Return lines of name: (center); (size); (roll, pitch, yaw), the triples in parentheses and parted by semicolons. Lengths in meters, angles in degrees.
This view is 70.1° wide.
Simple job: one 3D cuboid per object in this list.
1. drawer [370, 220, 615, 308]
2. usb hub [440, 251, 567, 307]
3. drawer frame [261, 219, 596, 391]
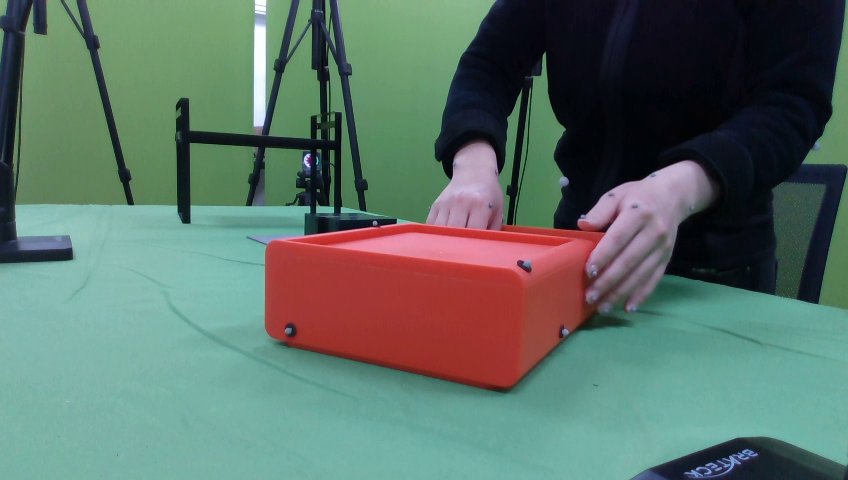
drawer: (0.061, 0.027, 0.579); (0.193, 0.073, 0.213); (7, 8, 29)
usb hub: (0.079, 0.038, 0.617); (0.124, 0.025, 0.050); (16, 14, 39)
drawer frame: (0.017, 0.036, 0.494); (0.201, 0.082, 0.214); (6, 9, 26)
